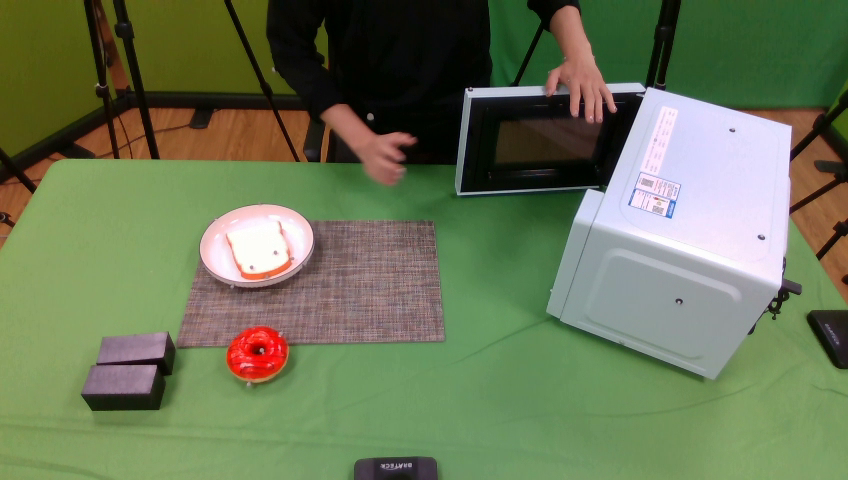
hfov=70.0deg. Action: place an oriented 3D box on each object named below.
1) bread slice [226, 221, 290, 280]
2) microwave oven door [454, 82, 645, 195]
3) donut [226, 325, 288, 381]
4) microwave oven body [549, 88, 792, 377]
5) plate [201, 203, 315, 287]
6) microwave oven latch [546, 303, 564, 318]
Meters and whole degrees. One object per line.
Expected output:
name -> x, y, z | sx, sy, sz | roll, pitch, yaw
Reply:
bread slice -> -0.308, 0.019, 1.141 | 0.105, 0.019, 0.130 | -17, 49, -18
microwave oven door -> 0.247, -0.204, 1.235 | 0.356, 0.245, 0.039 | -4, 46, -8
donut -> -0.270, 0.182, 0.984 | 0.099, 0.048, 0.098 | 5, 49, -5
microwave oven body -> 0.456, -0.028, 1.088 | 0.325, 0.261, 0.440 | 20, 47, 16
plate -> -0.310, 0.013, 1.145 | 0.208, 0.039, 0.206 | 2, 46, -2
microwave oven latch -> 0.242, 0.102, 1.081 | 0.030, 0.029, 0.079 | 21, 48, 17
